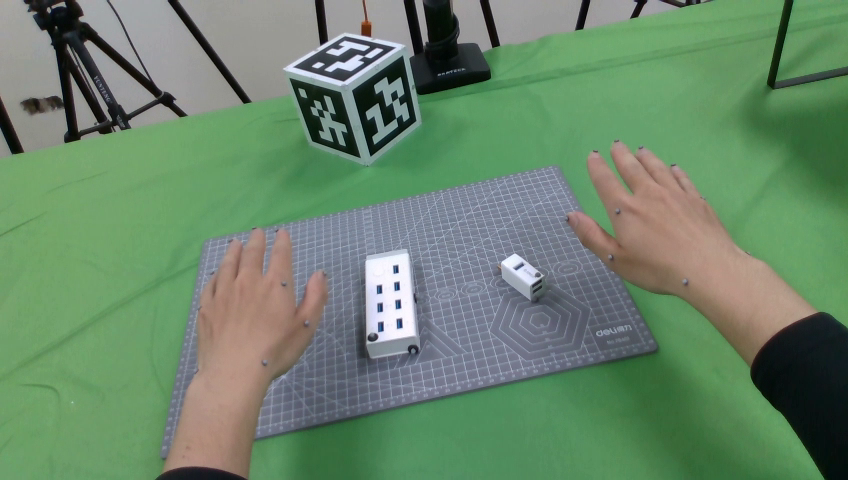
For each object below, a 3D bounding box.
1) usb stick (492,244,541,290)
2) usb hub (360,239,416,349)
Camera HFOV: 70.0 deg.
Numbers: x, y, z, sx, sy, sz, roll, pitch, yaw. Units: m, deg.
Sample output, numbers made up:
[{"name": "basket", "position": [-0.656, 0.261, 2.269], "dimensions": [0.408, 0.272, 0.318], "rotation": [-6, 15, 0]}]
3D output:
[{"name": "usb stick", "position": [0.091, 0.024, 0.611], "dimensions": [0.021, 0.027, 0.058], "rotation": [-34, 43, -18]}, {"name": "usb hub", "position": [-0.039, 0.052, 0.612], "dimensions": [0.049, 0.025, 0.124], "rotation": [-11, 42, 3]}]
